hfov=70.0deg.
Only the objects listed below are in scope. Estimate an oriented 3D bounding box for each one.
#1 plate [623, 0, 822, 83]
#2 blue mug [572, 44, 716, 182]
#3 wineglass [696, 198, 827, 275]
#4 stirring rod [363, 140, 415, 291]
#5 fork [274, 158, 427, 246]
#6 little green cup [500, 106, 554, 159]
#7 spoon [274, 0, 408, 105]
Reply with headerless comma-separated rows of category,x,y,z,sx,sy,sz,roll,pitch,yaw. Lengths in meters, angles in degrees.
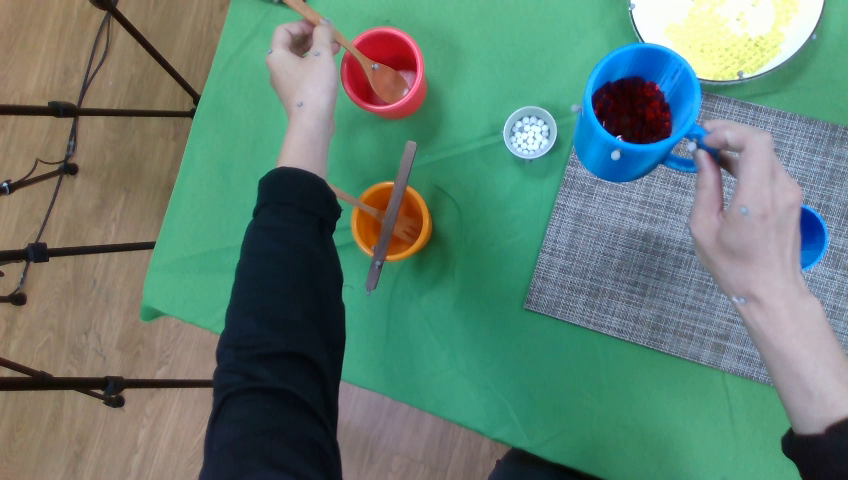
plate,0.331,-0.278,0.686,0.209,0.038,0.209,0,89,10
blue mug,0.179,-0.089,0.487,0.116,0.106,0.082,33,90,10
wineglass,0.329,-0.001,0.608,0.073,0.172,0.073,0,88,10
stirring rod,-0.040,-0.027,0.684,0.014,0.006,0.176,16,91,9
fork,-0.079,-0.042,0.694,0.209,0.018,0.028,28,100,-34
little green cup,0.123,-0.125,0.718,0.061,0.039,0.061,0,89,10
spoon,-0.089,-0.213,0.673,0.021,0.196,0.041,12,74,47
